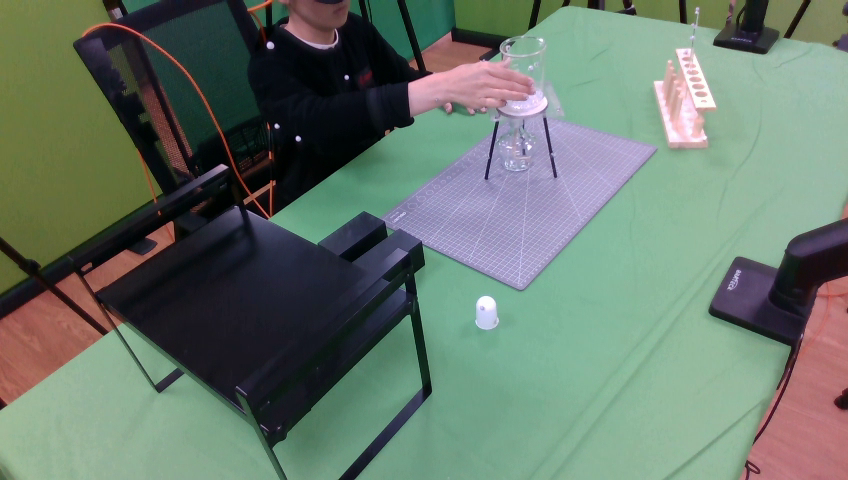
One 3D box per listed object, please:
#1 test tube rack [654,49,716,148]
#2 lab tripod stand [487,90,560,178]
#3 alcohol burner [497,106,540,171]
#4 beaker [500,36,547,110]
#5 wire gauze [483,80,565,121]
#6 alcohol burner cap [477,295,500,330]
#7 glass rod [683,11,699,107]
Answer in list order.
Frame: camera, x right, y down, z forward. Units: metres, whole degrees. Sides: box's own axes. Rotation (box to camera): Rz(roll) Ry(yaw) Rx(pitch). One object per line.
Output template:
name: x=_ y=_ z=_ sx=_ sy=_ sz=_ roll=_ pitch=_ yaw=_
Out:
test tube rack: x=0.502 y=-0.280 z=1.176 sx=0.066 sy=0.085 sz=0.241 roll=2 pitch=41 yaw=11
lab tripod stand: x=0.175 y=-0.185 z=1.074 sx=0.148 sy=0.132 sz=0.147 roll=-5 pitch=42 yaw=5
alcohol burner: x=0.170 y=-0.187 z=1.092 sx=0.078 sy=0.119 sz=0.077 roll=-6 pitch=41 yaw=6
beaker: x=0.169 y=-0.276 z=1.005 sx=0.084 sy=0.101 sz=0.073 roll=-26 pitch=45 yaw=-18
wire gauze: x=0.168 y=-0.237 z=1.035 sx=0.125 sy=0.011 sz=0.121 roll=-8 pitch=39 yaw=4
alcohol burner cap: x=0.089 y=0.097 z=0.833 sx=0.034 sy=0.048 sz=0.033 roll=-4 pitch=42 yaw=4
glass rod: x=0.501 y=-0.335 z=1.138 sx=0.008 sy=0.201 sz=0.008 roll=-7 pitch=44 yaw=7
